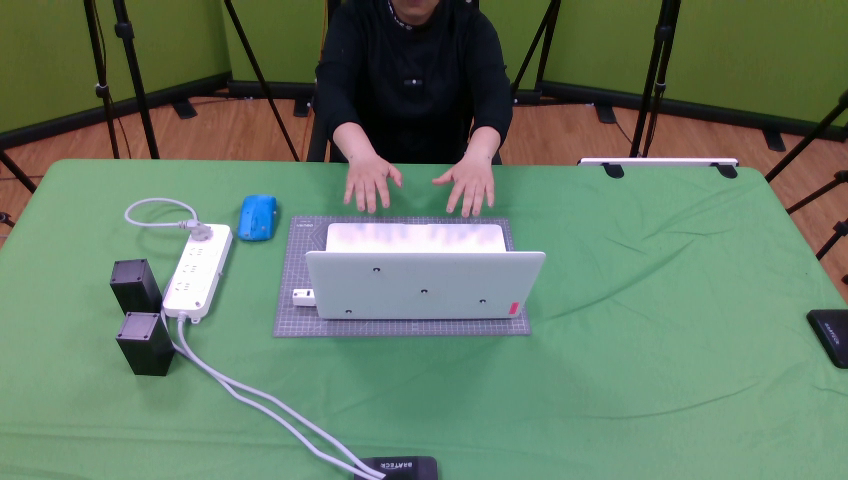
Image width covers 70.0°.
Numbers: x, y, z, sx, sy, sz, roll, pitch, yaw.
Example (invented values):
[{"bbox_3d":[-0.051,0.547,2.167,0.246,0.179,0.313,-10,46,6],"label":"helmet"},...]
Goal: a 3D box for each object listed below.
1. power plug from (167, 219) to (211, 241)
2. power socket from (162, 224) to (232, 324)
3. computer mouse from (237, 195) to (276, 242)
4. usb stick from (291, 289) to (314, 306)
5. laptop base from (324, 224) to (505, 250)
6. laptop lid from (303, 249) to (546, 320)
[{"bbox_3d":[-0.438,-0.017,1.143,0.072,0.053,0.035,10,43,7],"label":"power plug"},{"bbox_3d":[-0.411,0.053,1.106,0.072,0.033,0.225,3,45,-1],"label":"power socket"},{"bbox_3d":[-0.333,-0.047,1.206,0.063,0.041,0.116,3,51,-5],"label":"computer mouse"},{"bbox_3d":[-0.203,0.102,1.066,0.059,0.027,0.021,4,45,-5],"label":"usb stick"},{"bbox_3d":[-0.014,0.055,1.144,0.355,0.023,0.234,0,42,-4],"label":"laptop base"},{"bbox_3d":[-0.003,0.077,0.961,0.357,0.242,0.013,1,58,-5],"label":"laptop lid"}]
